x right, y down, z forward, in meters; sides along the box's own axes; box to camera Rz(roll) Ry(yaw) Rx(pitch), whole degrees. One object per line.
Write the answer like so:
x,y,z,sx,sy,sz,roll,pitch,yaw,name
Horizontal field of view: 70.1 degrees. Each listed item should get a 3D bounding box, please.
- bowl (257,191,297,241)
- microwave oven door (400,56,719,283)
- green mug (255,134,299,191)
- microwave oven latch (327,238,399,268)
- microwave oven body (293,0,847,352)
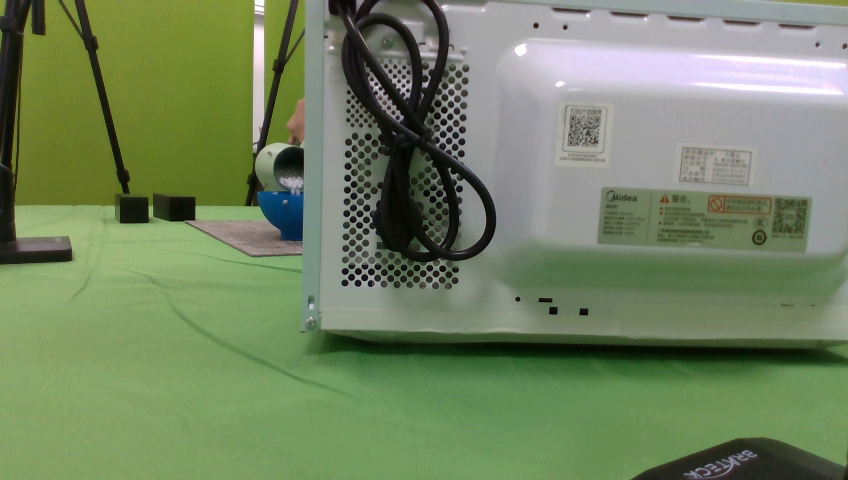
-0.207,-0.041,1.027,0.151,0.077,0.151,2,7,0,bowl
0.155,-0.077,0.697,0.356,0.243,0.039,2,8,-5,microwave oven door
-0.246,-0.146,1.112,0.093,0.125,0.104,32,-10,-29,green mug
-0.069,0.015,0.694,0.079,0.029,0.030,3,7,-3,microwave oven latch
0.122,-0.055,0.550,0.442,0.260,0.325,3,7,-5,microwave oven body
